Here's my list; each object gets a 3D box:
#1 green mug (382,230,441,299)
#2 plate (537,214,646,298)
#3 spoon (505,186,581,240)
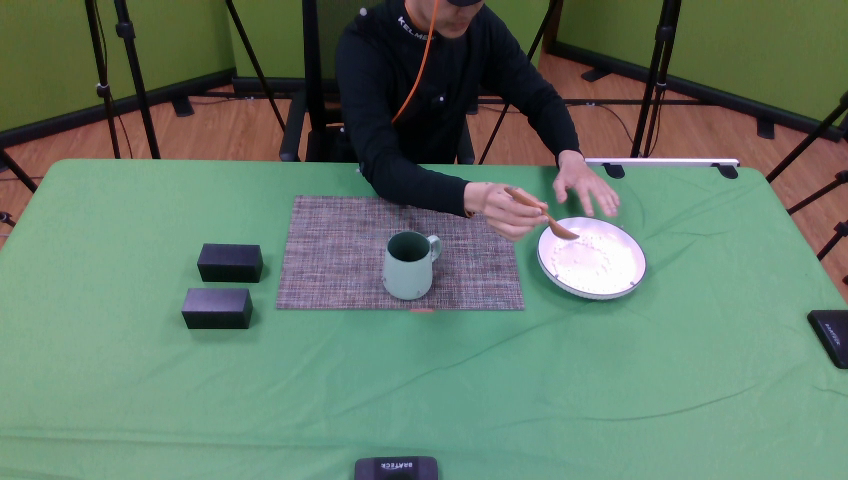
[{"bbox_3d":[-0.017,0.037,1.097,0.125,0.105,0.092,-34,57,-31],"label":"green mug"},{"bbox_3d":[0.321,0.035,1.176,0.209,0.038,0.208,2,47,-2],"label":"plate"},{"bbox_3d":[0.193,-0.042,0.983,0.041,0.195,0.021,2,65,51],"label":"spoon"}]
